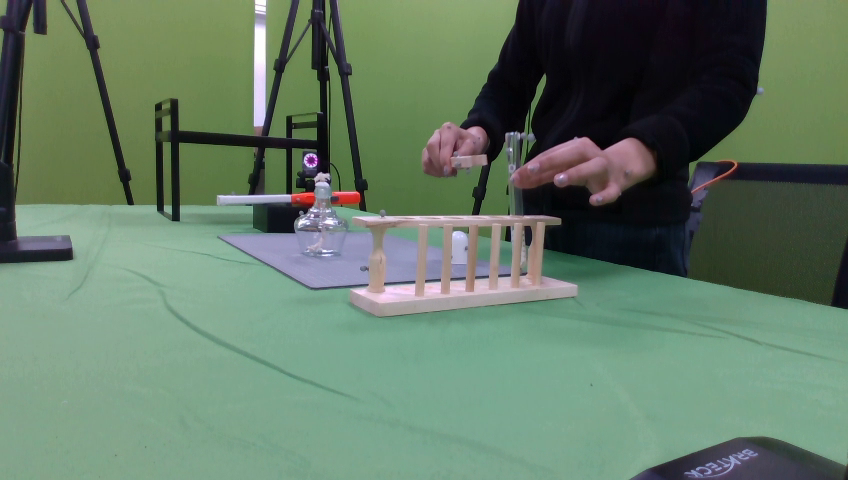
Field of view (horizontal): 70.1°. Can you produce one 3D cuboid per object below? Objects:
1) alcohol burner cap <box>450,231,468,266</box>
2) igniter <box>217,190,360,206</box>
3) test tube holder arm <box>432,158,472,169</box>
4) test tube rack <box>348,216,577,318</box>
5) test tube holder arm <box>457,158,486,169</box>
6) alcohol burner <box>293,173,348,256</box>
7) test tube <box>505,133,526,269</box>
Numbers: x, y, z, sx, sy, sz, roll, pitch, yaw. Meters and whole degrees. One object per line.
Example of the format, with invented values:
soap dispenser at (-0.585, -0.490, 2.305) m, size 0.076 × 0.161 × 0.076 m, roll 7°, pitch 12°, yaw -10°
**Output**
alcohol burner cap at (0.046, 0.011, 0.838) m, size 0.034 × 0.048 × 0.034 m, roll 2°, pitch 6°, yaw 0°
igniter at (-0.248, -0.080, 1.150) m, size 0.278 × 0.025 × 0.057 m, roll -5°, pitch 7°, yaw -29°
test tube holder arm at (0.036, -0.107, 0.843) m, size 0.013 × 0.015 × 0.178 m, roll -1°, pitch 7°, yaw -14°
test tube rack at (0.048, 0.021, 0.619) m, size 0.244 × 0.085 × 0.066 m, roll -2°, pitch 8°, yaw -31°
test tube holder arm at (0.055, -0.102, 0.802) m, size 0.010 × 0.015 × 0.087 m, roll -3°, pitch 8°, yaw -26°
alcohol burner at (-0.146, -0.036, 0.859) m, size 0.078 × 0.119 × 0.078 m, roll 4°, pitch 8°, yaw 0°
test tube at (0.101, -0.042, 0.667) m, size 0.017 × 0.150 × 0.017 m, roll -4°, pitch 6°, yaw 1°
